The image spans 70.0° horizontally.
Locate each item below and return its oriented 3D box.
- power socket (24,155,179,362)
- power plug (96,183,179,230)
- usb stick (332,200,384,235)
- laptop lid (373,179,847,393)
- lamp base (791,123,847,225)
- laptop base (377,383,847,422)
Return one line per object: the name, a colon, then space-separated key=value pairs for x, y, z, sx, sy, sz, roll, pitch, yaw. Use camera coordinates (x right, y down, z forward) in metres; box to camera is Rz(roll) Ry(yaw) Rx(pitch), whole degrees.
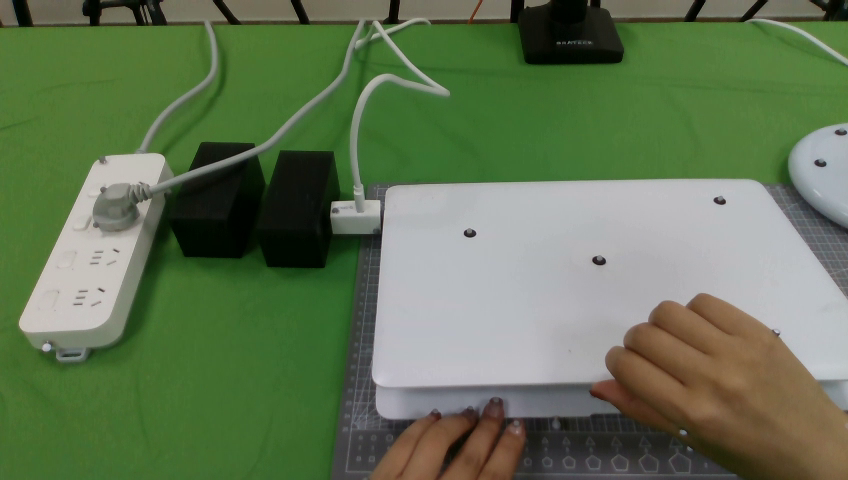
power socket: x=-0.275 y=0.002 z=0.535 sx=0.072 sy=0.033 sz=0.224 roll=-1 pitch=47 yaw=-2
power plug: x=-0.247 y=-0.022 z=0.524 sx=0.072 sy=0.053 sz=0.035 roll=6 pitch=48 yaw=6
usb stick: x=-0.052 y=-0.020 z=0.543 sx=0.059 sy=0.027 sz=0.021 roll=1 pitch=46 yaw=-5
laptop lid: x=0.141 y=0.021 z=0.481 sx=0.357 sy=0.013 sz=0.239 roll=0 pitch=40 yaw=1
lamp base: x=0.444 y=-0.117 z=0.530 sx=0.159 sy=0.182 sz=0.179 roll=31 pitch=52 yaw=26
laptop base: x=0.142 y=0.039 z=0.502 sx=0.354 sy=0.023 sz=0.233 roll=-1 pitch=50 yaw=0
